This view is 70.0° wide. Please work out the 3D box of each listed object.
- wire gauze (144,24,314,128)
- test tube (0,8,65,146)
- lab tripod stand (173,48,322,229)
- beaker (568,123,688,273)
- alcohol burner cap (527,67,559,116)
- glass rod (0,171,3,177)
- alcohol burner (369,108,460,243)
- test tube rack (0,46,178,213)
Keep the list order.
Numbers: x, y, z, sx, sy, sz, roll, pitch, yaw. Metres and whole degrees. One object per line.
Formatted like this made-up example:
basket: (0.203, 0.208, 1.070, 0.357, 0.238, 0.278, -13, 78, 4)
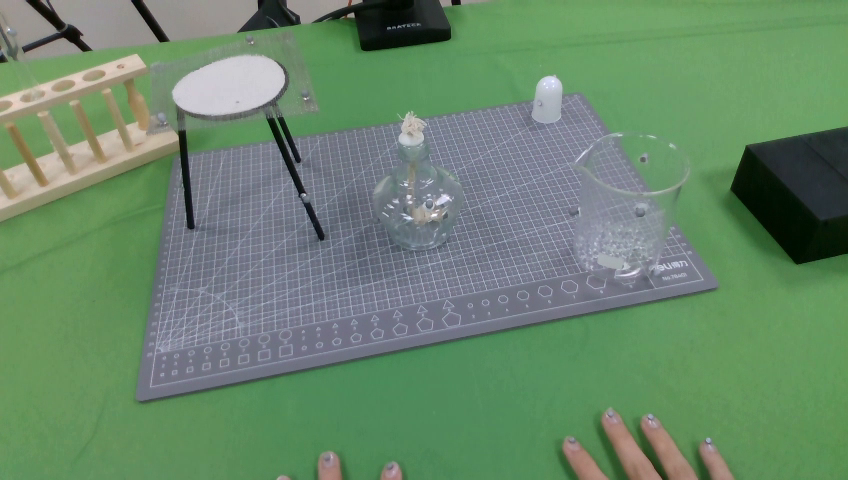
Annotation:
wire gauze: (-0.157, -0.130, 0.475, 0.125, 0.011, 0.120, -15, 47, -9)
test tube: (-0.378, -0.154, 0.574, 0.017, 0.151, 0.017, -1, 42, 1)
lab tripod stand: (-0.153, -0.083, 0.524, 0.148, 0.133, 0.147, -2, 48, 3)
beaker: (0.152, -0.029, 0.475, 0.084, 0.101, 0.073, 5, 46, 11)
alcohol burner cap: (0.127, -0.159, 0.642, 0.034, 0.048, 0.033, -2, 46, 2)
glass rod: (-0.433, -0.130, 0.532, 0.008, 0.201, 0.008, -3, 49, 4)
alcohol burner: (-0.009, -0.056, 0.501, 0.078, 0.120, 0.077, -2, 44, 3)
test tube rack: (-0.379, -0.100, 0.592, 0.242, 0.086, 0.066, -28, 51, -22)
